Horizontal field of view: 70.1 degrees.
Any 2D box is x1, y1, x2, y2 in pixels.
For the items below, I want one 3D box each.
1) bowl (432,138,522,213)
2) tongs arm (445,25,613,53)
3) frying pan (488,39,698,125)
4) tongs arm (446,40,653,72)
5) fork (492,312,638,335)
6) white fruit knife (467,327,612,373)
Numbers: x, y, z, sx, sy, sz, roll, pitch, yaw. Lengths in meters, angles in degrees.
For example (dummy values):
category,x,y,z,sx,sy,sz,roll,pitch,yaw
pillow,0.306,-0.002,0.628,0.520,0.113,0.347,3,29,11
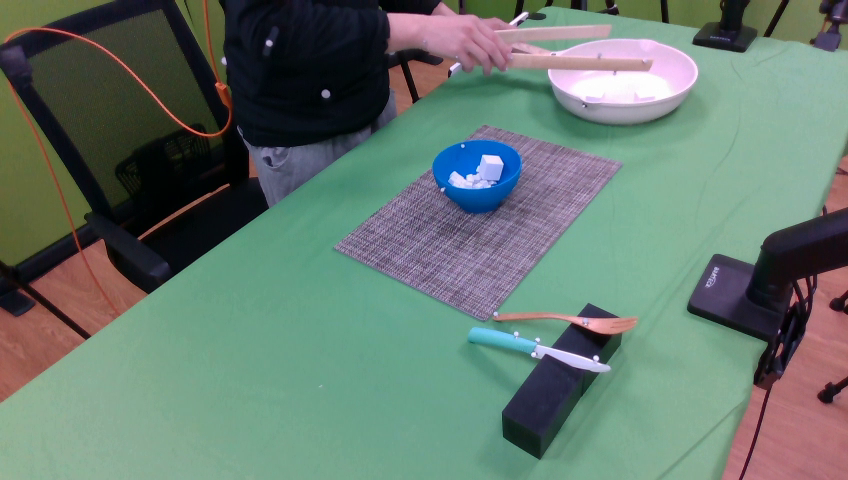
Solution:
category,x,y,z,sx,sy,sz,roll,pitch,yaw
bowl,0.091,-0.100,1.021,0.151,0.077,0.150,-4,41,4
tongs arm,0.202,-0.371,1.105,0.390,0.028,0.028,-14,54,-27
frying pan,0.321,-0.371,1.290,0.484,0.103,0.307,29,51,24
tongs arm,0.227,-0.319,1.057,0.387,0.026,0.050,-4,47,-19
fork,0.173,0.103,0.774,0.206,0.019,0.028,0,39,40
white fruit knife,0.134,0.134,0.742,0.205,0.027,0.016,7,34,41
